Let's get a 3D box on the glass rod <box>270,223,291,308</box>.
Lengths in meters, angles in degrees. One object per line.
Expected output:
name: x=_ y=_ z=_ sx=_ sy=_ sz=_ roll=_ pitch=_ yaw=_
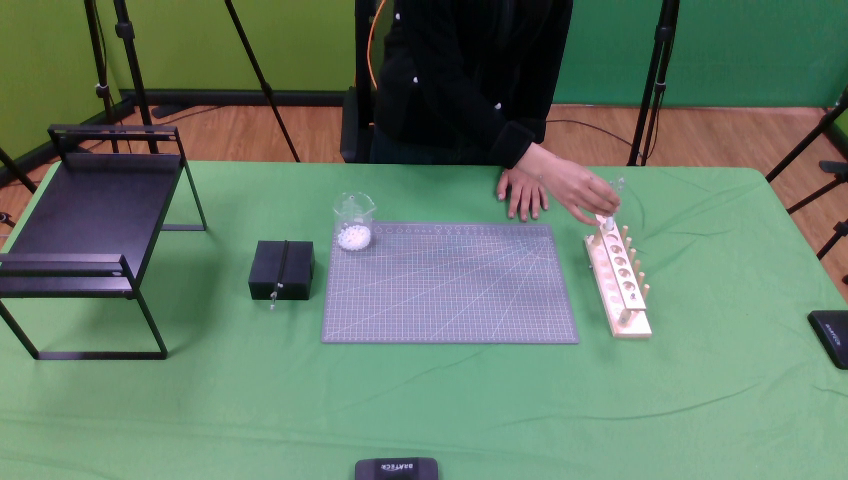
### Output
glass rod: x=-0.255 y=0.041 z=1.081 sx=0.008 sy=0.008 sz=0.198 roll=2 pitch=46 yaw=-2

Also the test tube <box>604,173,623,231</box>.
test tube: x=0.343 y=-0.065 z=1.100 sx=0.017 sy=0.151 sz=0.017 roll=-4 pitch=52 yaw=5

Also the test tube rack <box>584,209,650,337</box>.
test tube rack: x=0.365 y=0.056 z=1.129 sx=0.067 sy=0.085 sz=0.240 roll=1 pitch=46 yaw=-4

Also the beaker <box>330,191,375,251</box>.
beaker: x=-0.135 y=-0.034 z=1.163 sx=0.084 sy=0.101 sz=0.073 roll=2 pitch=46 yaw=-3
